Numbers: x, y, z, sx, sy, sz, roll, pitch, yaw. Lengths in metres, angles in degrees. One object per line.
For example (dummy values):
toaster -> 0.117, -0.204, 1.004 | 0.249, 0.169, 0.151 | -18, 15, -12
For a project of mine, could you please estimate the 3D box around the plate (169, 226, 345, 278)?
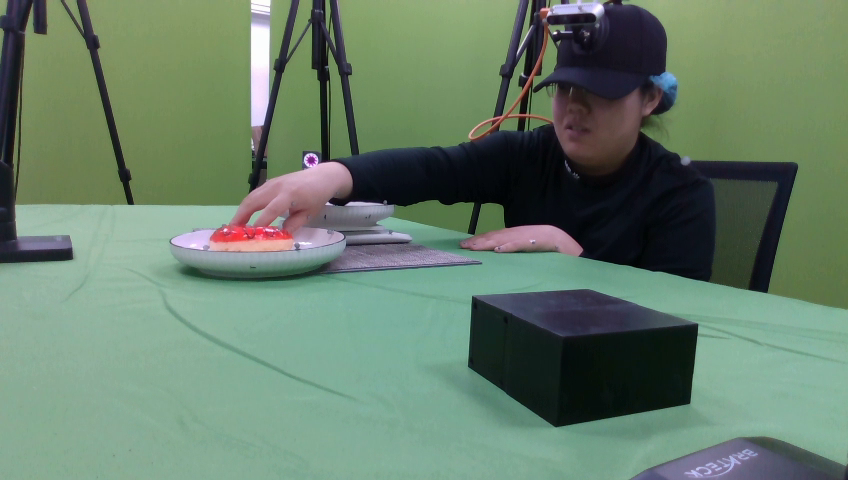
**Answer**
plate -> -0.202, 0.014, 0.748 | 0.209, 0.038, 0.209 | 1, 9, 0

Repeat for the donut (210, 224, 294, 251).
donut -> -0.209, 0.004, 0.739 | 0.099, 0.048, 0.099 | 0, 4, 0

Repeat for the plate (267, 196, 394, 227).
plate -> -0.152, -0.047, 0.998 | 0.208, 0.039, 0.207 | 3, 6, 0

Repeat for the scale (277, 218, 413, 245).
scale -> -0.134, -0.015, 1.015 | 0.202, 0.031, 0.148 | -2, 9, -33
